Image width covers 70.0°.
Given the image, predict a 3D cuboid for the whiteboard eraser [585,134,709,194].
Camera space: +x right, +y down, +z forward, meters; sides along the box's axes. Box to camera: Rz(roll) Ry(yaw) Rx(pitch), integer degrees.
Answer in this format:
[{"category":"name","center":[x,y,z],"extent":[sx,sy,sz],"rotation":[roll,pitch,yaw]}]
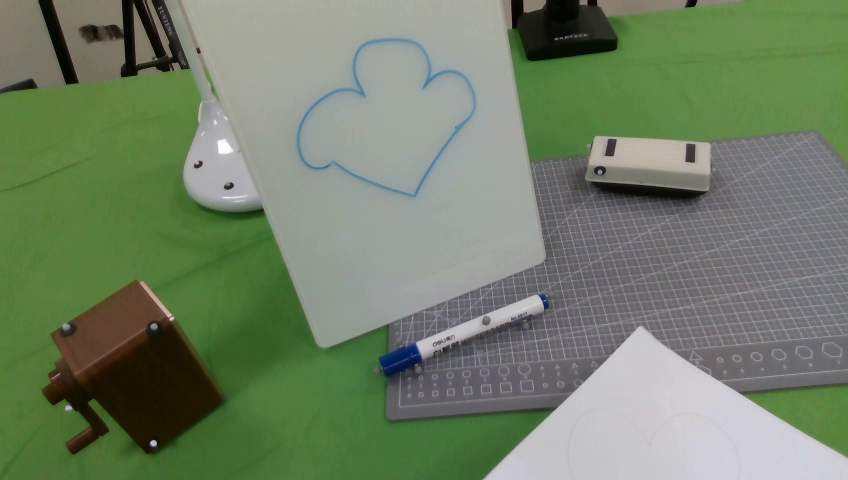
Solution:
[{"category":"whiteboard eraser","center":[0.218,-0.075,0.594],"extent":[0.112,0.042,0.055],"rotation":[8,47,17]}]

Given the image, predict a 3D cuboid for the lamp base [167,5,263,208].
[{"category":"lamp base","center":[-0.213,-0.151,0.647],"extent":[0.177,0.182,0.160],"rotation":[26,54,34]}]

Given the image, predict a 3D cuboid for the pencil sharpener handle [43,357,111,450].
[{"category":"pencil sharpener handle","center":[-0.245,0.114,0.417],"extent":[0.030,0.068,0.035],"rotation":[-37,38,-25]}]

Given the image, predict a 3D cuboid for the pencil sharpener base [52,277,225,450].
[{"category":"pencil sharpener base","center":[-0.209,0.094,0.449],"extent":[0.076,0.108,0.061],"rotation":[-37,51,-25]}]

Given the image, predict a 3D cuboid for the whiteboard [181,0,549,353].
[{"category":"whiteboard","center":[-0.043,-0.100,0.520],"extent":[0.217,0.308,0.142],"rotation":[-20,26,-10]}]

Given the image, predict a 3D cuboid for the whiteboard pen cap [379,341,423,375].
[{"category":"whiteboard pen cap","center":[-0.018,0.092,0.477],"extent":[0.033,0.018,0.018],"rotation":[-22,45,-10]}]

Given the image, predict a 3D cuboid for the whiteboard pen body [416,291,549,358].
[{"category":"whiteboard pen body","center":[0.036,0.072,0.487],"extent":[0.141,0.017,0.017],"rotation":[-20,45,-10]}]
